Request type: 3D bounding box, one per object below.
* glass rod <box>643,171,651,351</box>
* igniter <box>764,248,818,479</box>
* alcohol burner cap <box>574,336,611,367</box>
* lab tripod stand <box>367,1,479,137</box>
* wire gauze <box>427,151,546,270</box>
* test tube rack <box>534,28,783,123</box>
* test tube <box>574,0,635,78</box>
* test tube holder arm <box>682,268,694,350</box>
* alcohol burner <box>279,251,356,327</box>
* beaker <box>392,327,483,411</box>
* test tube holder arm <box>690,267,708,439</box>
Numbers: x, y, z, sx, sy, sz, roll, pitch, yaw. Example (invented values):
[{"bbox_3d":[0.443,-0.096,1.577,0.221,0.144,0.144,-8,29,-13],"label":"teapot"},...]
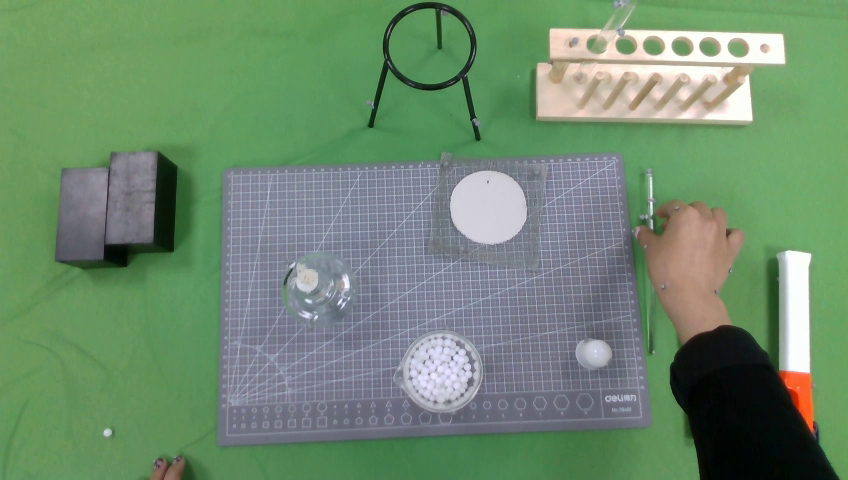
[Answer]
[{"bbox_3d":[0.245,0.021,0.664,0.008,0.008,0.199,3,82,0],"label":"glass rod"},{"bbox_3d":[0.382,0.145,0.631,0.057,0.025,0.275,7,79,-9],"label":"igniter"},{"bbox_3d":[0.176,0.115,0.626,0.034,0.048,0.033,0,79,0],"label":"alcohol burner cap"},{"bbox_3d":[0.002,-0.172,0.637,0.148,0.132,0.148,0,81,0],"label":"lab tripod stand"},{"bbox_3d":[0.070,-0.035,0.672,0.125,0.011,0.121,9,80,1],"label":"wire gauze"},{"bbox_3d":[0.249,-0.177,0.663,0.242,0.085,0.066,1,79,0],"label":"test tube rack"},{"bbox_3d":[0.180,-0.203,0.617,0.017,0.150,0.017,1,79,-2],"label":"test tube"},{"bbox_3d":[0.285,0.074,0.650,0.010,0.015,0.087,-5,78,36],"label":"test tube holder arm"},{"bbox_3d":[-0.109,0.046,0.602,0.078,0.119,0.077,0,78,2],"label":"alcohol burner"},{"bbox_3d":[0.013,0.127,0.594,0.084,0.100,0.073,-10,78,-1],"label":"beaker"},{"bbox_3d":[0.289,0.118,0.639,0.013,0.015,0.177,-7,77,36],"label":"test tube holder arm"}]
